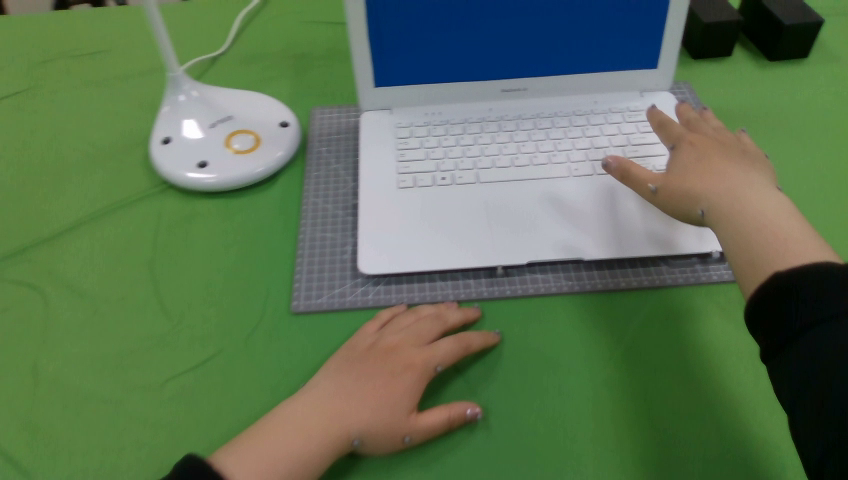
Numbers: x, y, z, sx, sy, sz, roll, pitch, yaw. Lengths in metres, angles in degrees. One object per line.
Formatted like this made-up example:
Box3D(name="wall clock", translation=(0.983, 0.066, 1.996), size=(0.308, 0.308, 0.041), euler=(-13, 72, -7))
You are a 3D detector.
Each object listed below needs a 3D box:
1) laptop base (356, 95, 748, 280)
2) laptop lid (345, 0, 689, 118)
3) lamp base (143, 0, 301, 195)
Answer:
Box3D(name="laptop base", translation=(0.110, -0.060, 0.615), size=(0.354, 0.023, 0.233), euler=(-4, 51, -1))
Box3D(name="laptop lid", translation=(0.097, -0.239, 0.617), size=(0.357, 0.244, 0.013), euler=(-5, 40, 0))
Box3D(name="lamp base", translation=(-0.230, -0.163, 0.618), size=(0.178, 0.182, 0.160), euler=(25, 54, 27))
